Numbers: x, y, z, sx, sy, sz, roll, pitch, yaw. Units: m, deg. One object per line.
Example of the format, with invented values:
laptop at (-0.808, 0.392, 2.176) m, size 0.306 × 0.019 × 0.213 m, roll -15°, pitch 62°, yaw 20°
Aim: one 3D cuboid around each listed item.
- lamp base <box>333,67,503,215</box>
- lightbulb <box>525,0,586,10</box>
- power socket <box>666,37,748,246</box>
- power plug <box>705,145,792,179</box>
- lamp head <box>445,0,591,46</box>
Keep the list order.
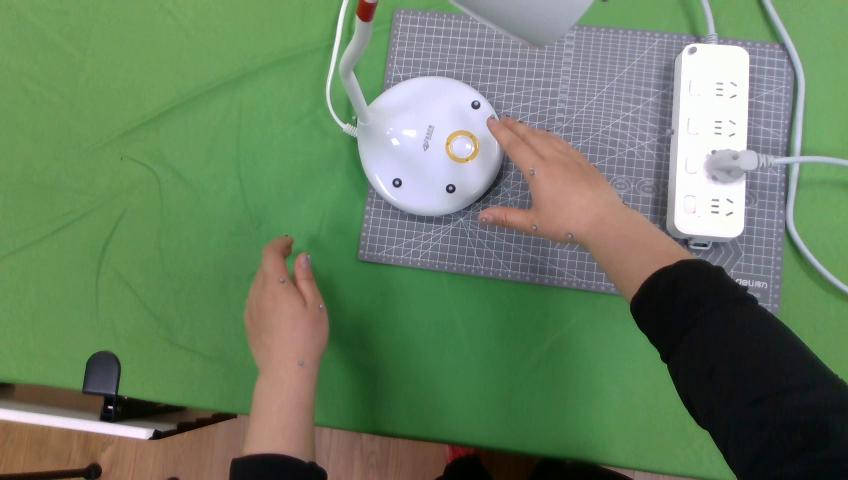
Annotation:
lamp base at (-0.013, -0.118, 0.596) m, size 0.179 × 0.181 × 0.160 m, roll 3°, pitch 82°, yaw 8°
lightbulb at (0.048, -0.158, 0.303) m, size 0.108 × 0.059 × 0.059 m, roll 20°, pitch 84°, yaw -20°
power socket at (0.300, -0.108, 0.643) m, size 0.072 × 0.033 × 0.226 m, roll 5°, pitch 82°, yaw 4°
power plug at (0.325, -0.075, 0.618) m, size 0.072 × 0.053 × 0.035 m, roll 16°, pitch 85°, yaw 4°
lamp head at (0.024, -0.167, 0.301) m, size 0.123 × 0.112 × 0.112 m, roll 11°, pitch 83°, yaw -16°
